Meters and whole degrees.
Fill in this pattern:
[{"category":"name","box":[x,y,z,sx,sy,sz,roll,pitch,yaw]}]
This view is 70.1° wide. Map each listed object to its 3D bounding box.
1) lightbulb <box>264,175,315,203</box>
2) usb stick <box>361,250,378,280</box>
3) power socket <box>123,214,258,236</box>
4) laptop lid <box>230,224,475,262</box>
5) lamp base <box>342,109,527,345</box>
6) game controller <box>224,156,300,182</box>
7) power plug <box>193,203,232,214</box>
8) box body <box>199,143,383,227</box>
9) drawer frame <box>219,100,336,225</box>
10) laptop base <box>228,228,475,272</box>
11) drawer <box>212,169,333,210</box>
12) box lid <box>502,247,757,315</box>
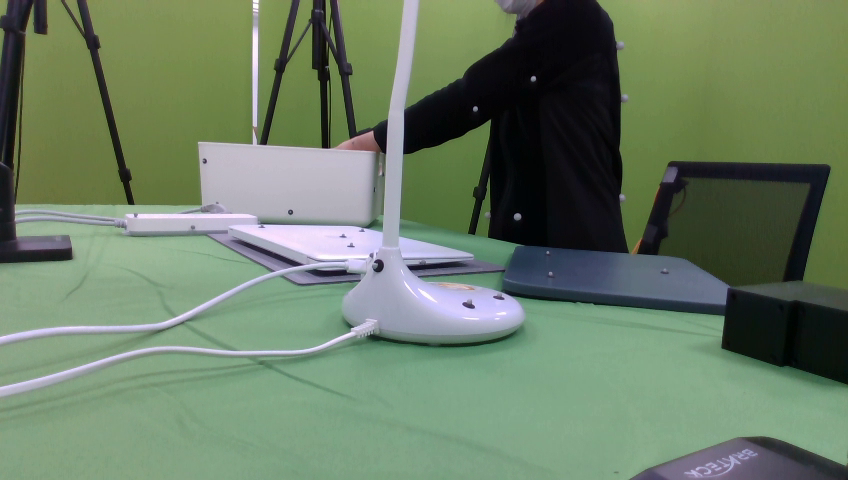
[{"category":"lightbulb","box":[-0.285,-0.102,1.284,0.108,0.059,0.059,-17,13,-14]},{"category":"usb stick","box":[-0.052,0.033,0.656,0.027,0.021,0.059,5,-27,-20]},{"category":"power socket","box":[-0.398,-0.028,1.049,0.228,0.032,0.072,-3,8,-34]},{"category":"laptop lid","box":[-0.120,0.000,0.889,0.243,0.013,0.355,1,7,-33]},{"category":"lamp base","box":[0.006,-0.015,0.505,0.160,0.180,0.180,6,11,29]},{"category":"game controller","box":[-0.354,-0.155,1.317,0.156,0.051,0.097,-5,4,-17]},{"category":"power plug","box":[-0.394,-0.042,1.139,0.072,0.052,0.035,-14,2,31]},{"category":"box body","box":[-0.276,-0.124,1.335,0.364,0.160,0.254,3,7,1]},{"category":"drawer frame","box":[-0.307,-0.155,1.304,0.082,0.213,0.202,25,-10,34]},{"category":"laptop base","box":[-0.122,0.011,0.889,0.237,0.023,0.352,2,6,-35]},{"category":"drawer","box":[-0.323,-0.116,1.323,0.212,0.073,0.194,4,11,5]},{"category":"box lid","box":[0.244,0.044,0.793,0.263,0.015,0.372,4,7,10]}]
